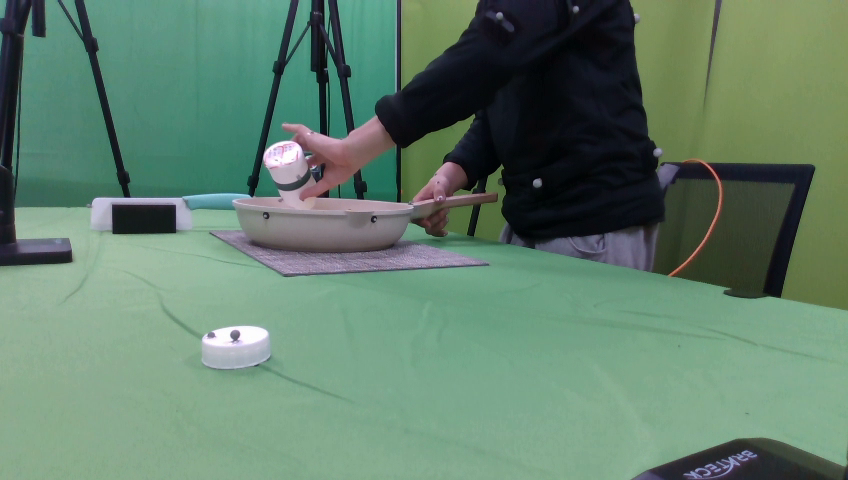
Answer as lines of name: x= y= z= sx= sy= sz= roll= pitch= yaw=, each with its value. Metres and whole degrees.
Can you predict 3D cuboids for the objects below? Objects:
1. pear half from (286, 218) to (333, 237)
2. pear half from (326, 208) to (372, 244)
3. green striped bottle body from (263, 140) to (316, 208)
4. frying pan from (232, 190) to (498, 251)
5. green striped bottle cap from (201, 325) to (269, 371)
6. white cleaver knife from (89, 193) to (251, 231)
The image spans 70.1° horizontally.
pear half: x=-0.197 y=-0.023 z=1.055 sx=0.088 sy=0.031 sz=0.070 roll=-9 pitch=18 yaw=-43
pear half: x=-0.128 y=-0.026 z=1.017 sx=0.076 sy=0.056 sz=0.109 roll=5 pitch=4 yaw=-19
green striped bottle body: x=-0.219 y=-0.103 z=1.006 sx=0.063 sy=0.063 sz=0.119 roll=4 pitch=-37 yaw=12
frying pan: x=-0.073 y=-0.051 z=1.048 sx=0.490 sy=0.102 sz=0.305 roll=-11 pitch=13 yaw=-27
green striped bottle cap: x=-0.129 y=0.073 z=0.415 sx=0.044 sy=0.020 sz=0.044 roll=2 pitch=8 yaw=0
white cleaver knife: x=-0.454 y=-0.052 z=1.115 sx=0.288 sy=0.066 sz=0.021 roll=-4 pitch=14 yaw=-27
